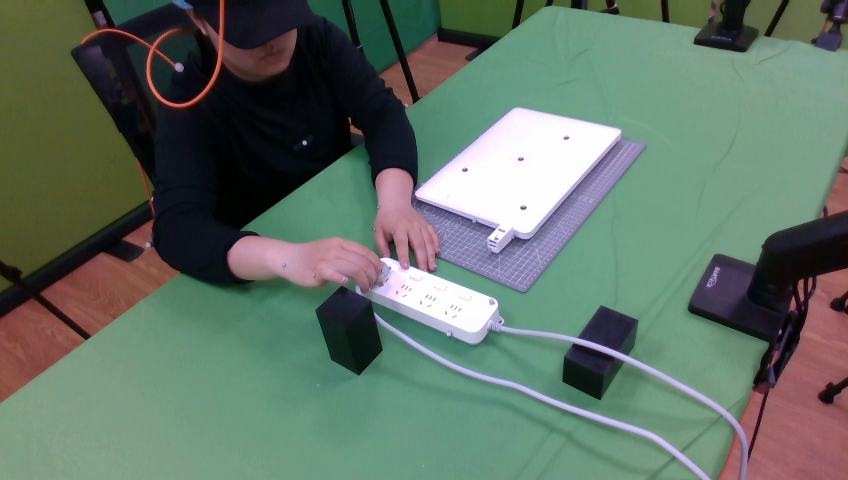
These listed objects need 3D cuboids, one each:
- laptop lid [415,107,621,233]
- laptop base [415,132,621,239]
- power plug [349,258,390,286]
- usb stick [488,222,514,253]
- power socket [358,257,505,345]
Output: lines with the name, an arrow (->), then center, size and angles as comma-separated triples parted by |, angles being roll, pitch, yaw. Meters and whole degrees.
laptop lid -> 0.176, -0.144, 1.095 | 0.239, 0.013, 0.358 | 23, 49, 33
laptop base -> 0.179, -0.134, 1.101 | 0.233, 0.023, 0.355 | 20, 47, 33
power plug -> -0.081, 0.054, 0.861 | 0.073, 0.053, 0.035 | -34, 40, -28
usb stick -> 0.124, -0.008, 0.944 | 0.021, 0.027, 0.059 | 25, 47, 31
power socket -> 0.004, 0.083, 0.862 | 0.225, 0.033, 0.072 | 20, 48, 28
